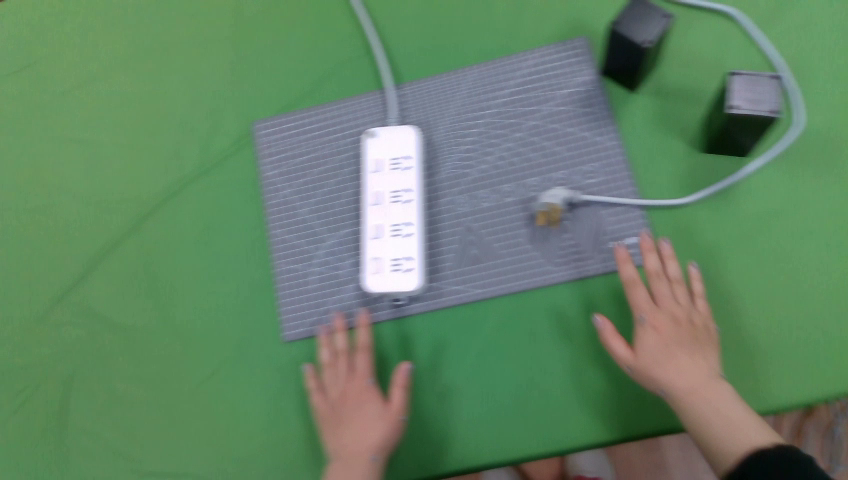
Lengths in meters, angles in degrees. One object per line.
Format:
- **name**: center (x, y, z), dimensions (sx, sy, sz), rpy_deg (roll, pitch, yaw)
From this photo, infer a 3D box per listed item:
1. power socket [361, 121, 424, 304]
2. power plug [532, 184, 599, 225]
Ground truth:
- **power socket**: center (-0.037, -0.038, 0.726), dimensions (0.072, 0.033, 0.225), rpy_deg (-2, 75, 8)
- **power plug**: center (0.159, -0.040, 0.688), dimensions (0.072, 0.035, 0.052), rpy_deg (0, 57, 21)
